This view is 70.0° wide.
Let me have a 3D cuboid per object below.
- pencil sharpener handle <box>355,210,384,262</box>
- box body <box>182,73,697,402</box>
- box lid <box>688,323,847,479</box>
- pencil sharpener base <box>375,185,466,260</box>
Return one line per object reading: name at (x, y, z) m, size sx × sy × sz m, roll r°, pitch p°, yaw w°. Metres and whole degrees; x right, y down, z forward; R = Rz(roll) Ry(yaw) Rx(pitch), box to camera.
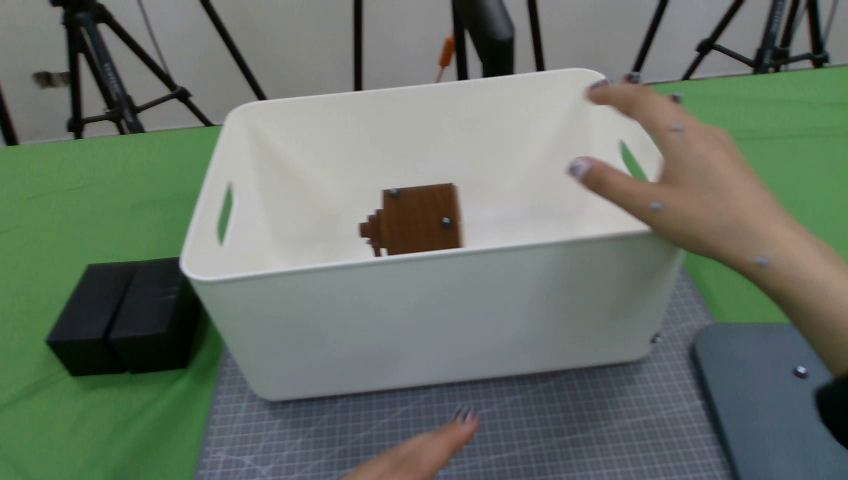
pencil sharpener handle at (-0.053, 0.005, 0.554) m, size 0.030 × 0.068 × 0.035 m, roll -5°, pitch 42°, yaw 2°
box body at (0.011, -0.009, 0.549) m, size 0.364 × 0.162 × 0.251 m, roll -6°, pitch 40°, yaw -1°
box lid at (0.401, 0.159, 0.428) m, size 0.371 × 0.015 × 0.261 m, roll -1°, pitch 40°, yaw 5°
pencil sharpener base at (-0.001, 0.010, 0.561) m, size 0.077 × 0.108 × 0.061 m, roll -5°, pitch 41°, yaw 1°
